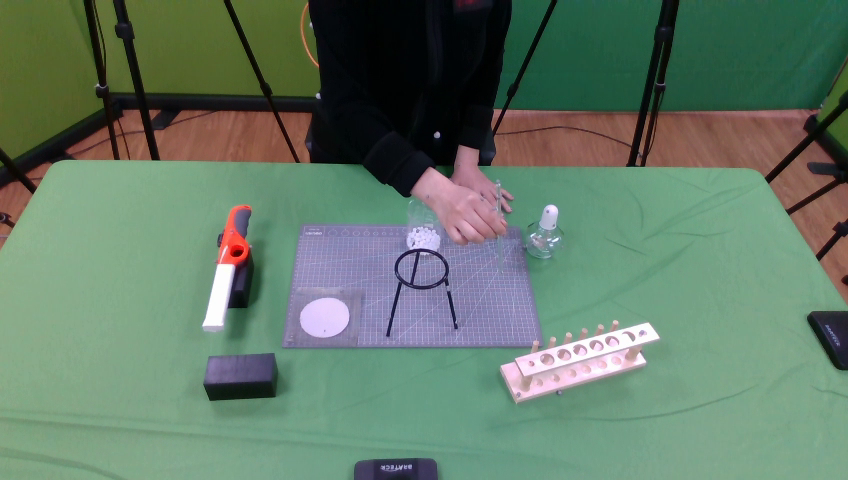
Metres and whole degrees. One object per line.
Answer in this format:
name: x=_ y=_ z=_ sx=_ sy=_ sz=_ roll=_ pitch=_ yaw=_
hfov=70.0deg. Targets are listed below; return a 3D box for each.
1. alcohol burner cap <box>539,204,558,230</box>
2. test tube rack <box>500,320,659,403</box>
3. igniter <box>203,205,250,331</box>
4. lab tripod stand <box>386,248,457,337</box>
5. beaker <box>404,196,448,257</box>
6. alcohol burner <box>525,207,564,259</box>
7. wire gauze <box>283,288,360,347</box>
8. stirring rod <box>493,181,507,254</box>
alcohol burner cap: x=0.239 y=-0.045 z=1.148 sx=0.034 sy=0.048 sz=0.033 roll=2 pitch=42 yaw=-1
test tube rack: x=0.252 y=0.187 z=0.994 sx=0.243 sy=0.085 sz=0.066 roll=-12 pitch=48 yaw=-15
igniter: x=-0.345 y=0.039 z=1.065 sx=0.057 sy=0.025 sz=0.274 roll=2 pitch=48 yaw=-6
lab tripod stand: x=-0.010 y=0.087 z=1.032 sx=0.148 sy=0.132 sz=0.147 roll=1 pitch=45 yaw=-1
beaker: x=0.001 y=-0.024 z=1.164 sx=0.084 sy=0.101 sz=0.073 roll=6 pitch=46 yaw=0
alcohol burner: x=0.236 y=-0.020 z=1.174 sx=0.078 sy=0.120 sz=0.077 roll=1 pitch=48 yaw=-1
wire gauze: x=-0.177 y=0.132 z=1.063 sx=0.125 sy=0.011 sz=0.120 roll=2 pitch=46 yaw=1
stirring rod: x=0.116 y=-0.029 z=0.917 sx=0.014 sy=0.177 sz=0.006 roll=-8 pitch=54 yaw=5
